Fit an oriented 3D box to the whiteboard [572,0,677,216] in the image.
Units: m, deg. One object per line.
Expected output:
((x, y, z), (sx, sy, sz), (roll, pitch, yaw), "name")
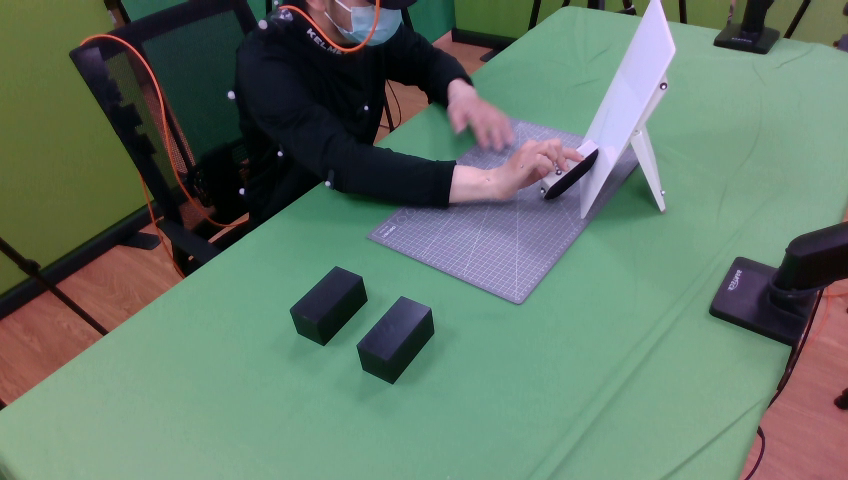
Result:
((0.367, -0.189, 0.963), (0.144, 0.305, 0.216), (18, 43, -2), "whiteboard")

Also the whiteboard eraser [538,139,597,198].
((0.243, -0.116, 1.002), (0.113, 0.056, 0.041), (-40, 78, -12), "whiteboard eraser")
